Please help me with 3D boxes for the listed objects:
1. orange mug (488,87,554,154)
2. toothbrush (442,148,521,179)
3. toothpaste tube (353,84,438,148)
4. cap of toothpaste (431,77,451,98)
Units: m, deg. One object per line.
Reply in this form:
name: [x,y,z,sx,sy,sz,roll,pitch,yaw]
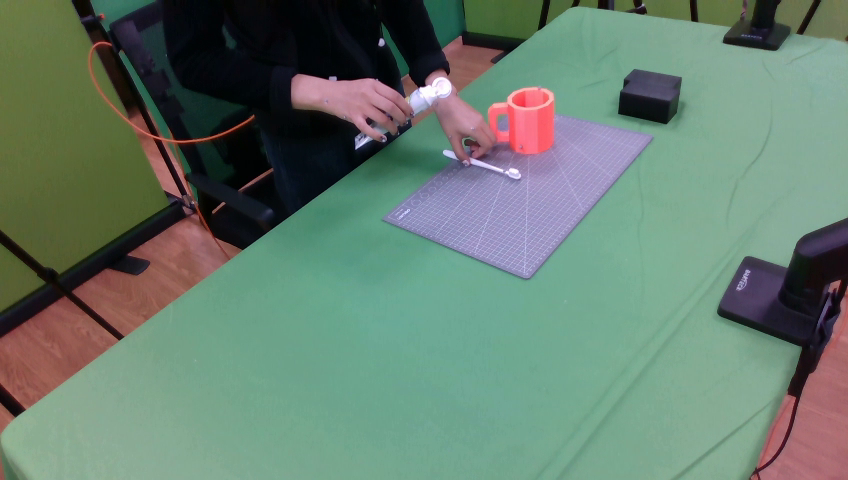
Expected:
orange mug: [0.185,-0.227,1.151,0.126,0.101,0.083,1,41,5]
toothbrush: [0.104,-0.146,1.134,0.180,0.017,0.014,24,70,35]
toothpaste tube: [-0.048,-0.208,1.005,0.165,0.035,0.055,-31,27,9]
cap of toothpaste: [0.028,-0.256,1.012,0.037,0.037,0.011,-20,2,-12]
